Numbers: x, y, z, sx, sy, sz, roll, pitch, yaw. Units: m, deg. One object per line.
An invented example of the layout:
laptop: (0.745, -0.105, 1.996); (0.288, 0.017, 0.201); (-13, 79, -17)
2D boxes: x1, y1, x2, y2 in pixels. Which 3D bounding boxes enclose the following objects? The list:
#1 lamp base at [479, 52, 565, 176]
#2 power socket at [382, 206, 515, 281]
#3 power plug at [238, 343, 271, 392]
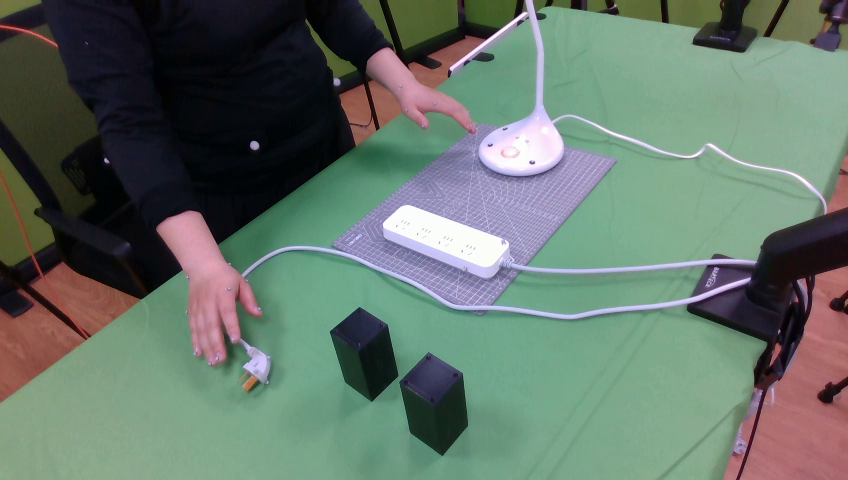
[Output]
lamp base: (0.181, -0.235, 1.093); (0.159, 0.181, 0.179); (18, 44, 27)
power socket: (0.032, 0.002, 0.950); (0.225, 0.033, 0.072); (21, 49, 29)
power plug: (-0.230, 0.172, 0.801); (0.072, 0.035, 0.053); (9, 50, 49)
